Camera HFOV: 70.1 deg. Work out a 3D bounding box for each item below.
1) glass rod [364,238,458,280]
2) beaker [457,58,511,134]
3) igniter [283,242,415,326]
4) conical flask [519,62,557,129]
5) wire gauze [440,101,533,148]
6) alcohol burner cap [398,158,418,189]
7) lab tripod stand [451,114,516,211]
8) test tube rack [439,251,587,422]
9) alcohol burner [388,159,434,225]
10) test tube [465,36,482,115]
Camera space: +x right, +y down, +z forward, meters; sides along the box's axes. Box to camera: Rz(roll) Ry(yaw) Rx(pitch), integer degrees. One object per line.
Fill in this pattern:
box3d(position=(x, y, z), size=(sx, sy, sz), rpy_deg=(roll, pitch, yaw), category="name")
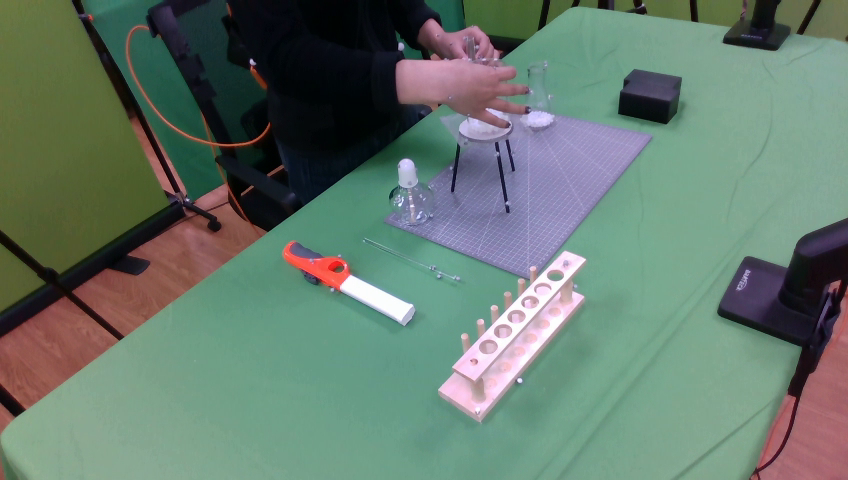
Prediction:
box3d(position=(-0.026, 0.029, 0.966), size=(0.198, 0.008, 0.008), rpy_deg=(21, 49, 35), category="glass rod")
box3d(position=(0.098, -0.227, 0.964), size=(0.084, 0.101, 0.073), rpy_deg=(-4, 39, 8), category="beaker")
box3d(position=(-0.126, 0.062, 0.931), size=(0.274, 0.025, 0.057), rpy_deg=(23, 60, 33), category="igniter")
box3d(position=(0.225, -0.287, 1.198), size=(0.075, 0.122, 0.075), rpy_deg=(-6, 40, 5), category="conical flask")
box3d(position=(0.100, -0.189, 0.995), size=(0.125, 0.011, 0.120), rpy_deg=(-16, 38, -6), category="wire gauze")
box3d(position=(-0.028, -0.111, 0.989), size=(0.034, 0.048, 0.033), rpy_deg=(-3, 46, 4), category="alcohol burner cap")
box3d(position=(0.113, -0.140, 1.037), size=(0.148, 0.132, 0.147), rpy_deg=(-6, 38, 5), category="lab tripod stand")
box3d(position=(0.118, 0.111, 0.780), size=(0.066, 0.085, 0.243), rpy_deg=(26, 51, 35), category="test tube rack")
box3d(position=(-0.023, -0.084, 1.013), size=(0.078, 0.119, 0.077), rpy_deg=(-4, 38, 4), category="alcohol burner")
box3d(position=(0.088, -0.288, 1.073), size=(0.017, 0.151, 0.017), rpy_deg=(-6, 43, 6), category="test tube")
